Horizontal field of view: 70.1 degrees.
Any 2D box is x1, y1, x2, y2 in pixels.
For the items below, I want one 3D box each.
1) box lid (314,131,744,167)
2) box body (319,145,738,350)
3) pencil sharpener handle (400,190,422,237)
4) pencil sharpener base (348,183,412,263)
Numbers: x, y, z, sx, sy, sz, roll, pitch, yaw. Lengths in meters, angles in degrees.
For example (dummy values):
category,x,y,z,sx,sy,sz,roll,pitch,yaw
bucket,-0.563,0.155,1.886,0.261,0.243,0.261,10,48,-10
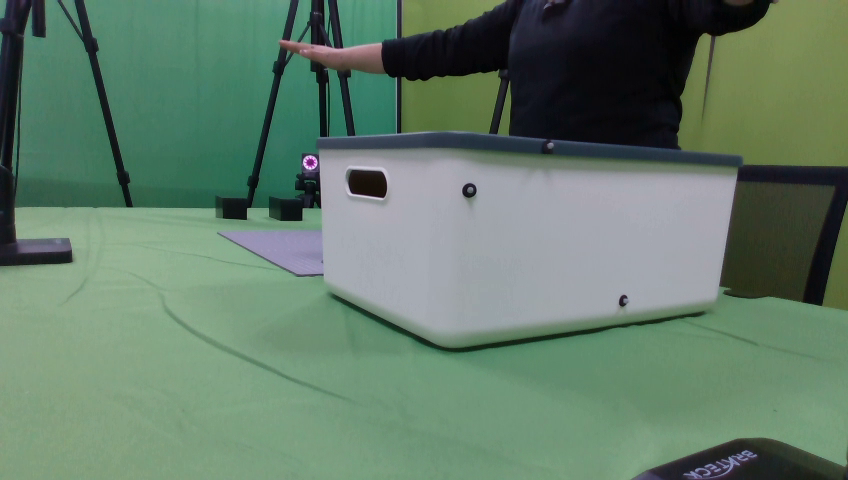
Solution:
category,x,y,z,sx,sy,sz,roll,pitch,yaw
box lid,0.101,-0.085,0.602,0.373,0.015,0.262,-2,8,-32
box body,0.100,-0.013,0.611,0.366,0.160,0.253,-2,8,-32
pencil sharpener handle,-0.016,-0.038,0.872,0.031,0.067,0.036,-1,16,-30
pencil sharpener base,-0.059,-0.024,0.846,0.077,0.107,0.061,-1,7,-30
